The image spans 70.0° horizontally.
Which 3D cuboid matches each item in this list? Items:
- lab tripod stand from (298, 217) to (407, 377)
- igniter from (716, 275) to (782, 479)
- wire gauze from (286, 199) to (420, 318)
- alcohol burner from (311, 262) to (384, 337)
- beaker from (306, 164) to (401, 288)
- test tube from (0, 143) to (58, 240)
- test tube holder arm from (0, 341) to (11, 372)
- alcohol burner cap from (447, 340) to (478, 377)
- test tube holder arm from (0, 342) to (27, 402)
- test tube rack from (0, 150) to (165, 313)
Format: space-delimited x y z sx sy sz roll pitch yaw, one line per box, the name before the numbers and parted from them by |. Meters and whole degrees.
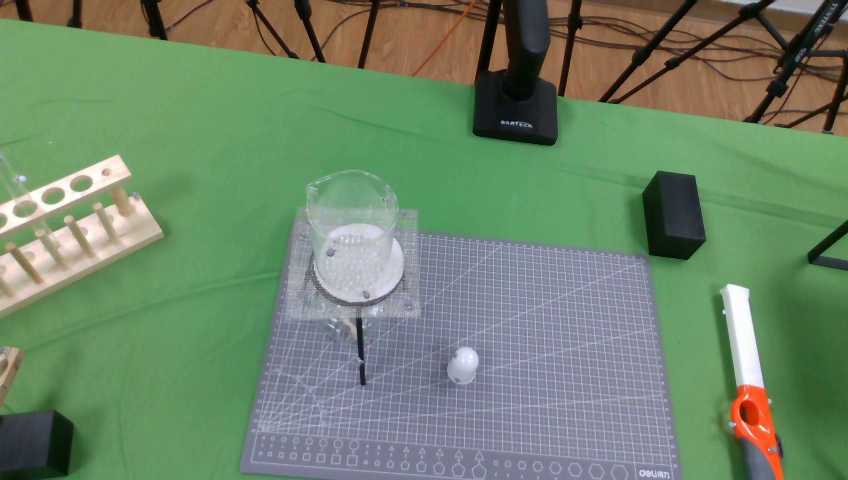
lab tripod stand | -0.069 0.052 0.628 0.149 0.132 0.147 4 60 -6
igniter | 0.363 0.166 0.679 0.057 0.025 0.274 14 59 -11
wire gauze | -0.066 0.015 0.575 0.121 0.011 0.124 1 63 -5
alcohol burner | -0.080 0.056 0.636 0.078 0.120 0.077 4 58 -6
beaker | -0.065 -0.009 0.531 0.084 0.101 0.073 28 60 10
test tube | -0.408 -0.045 0.618 0.017 0.151 0.017 4 54 -5
test tube holder arm | -0.400 0.173 0.530 0.013 0.015 0.177 8 58 -2
alcohol burner cap | 0.043 0.126 0.652 0.034 0.048 0.033 2 62 -3
test tube holder arm | -0.390 0.136 0.554 0.010 0.015 0.087 9 58 -2
test tube rack | -0.417 0.003 0.646 0.242 0.086 0.066 -31 68 -22
